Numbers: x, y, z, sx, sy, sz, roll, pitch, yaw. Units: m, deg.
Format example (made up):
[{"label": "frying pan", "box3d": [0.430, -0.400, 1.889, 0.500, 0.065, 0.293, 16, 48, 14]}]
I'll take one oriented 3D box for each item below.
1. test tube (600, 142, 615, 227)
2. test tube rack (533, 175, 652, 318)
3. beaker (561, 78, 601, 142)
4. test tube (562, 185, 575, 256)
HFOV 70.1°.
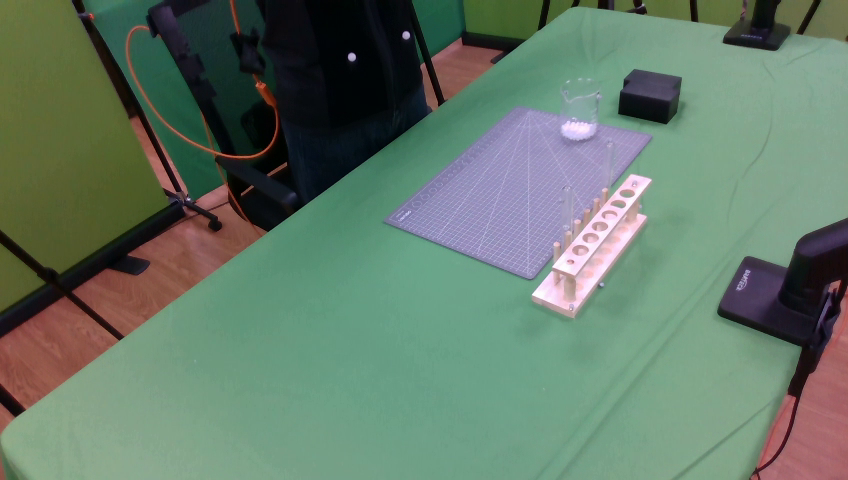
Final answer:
[{"label": "test tube", "box3d": [0.274, -0.081, 0.909, 0.017, 0.151, 0.017, -5, 40, 5]}, {"label": "test tube rack", "box3d": [0.250, -0.001, 0.889, 0.066, 0.085, 0.243, 22, 49, 33]}, {"label": "beaker", "box3d": [0.295, -0.243, 1.150, 0.073, 0.101, 0.084, 22, 50, 32]}, {"label": "test tube", "box3d": [0.201, -0.015, 0.845, 0.017, 0.151, 0.017, -6, 42, 6]}]
